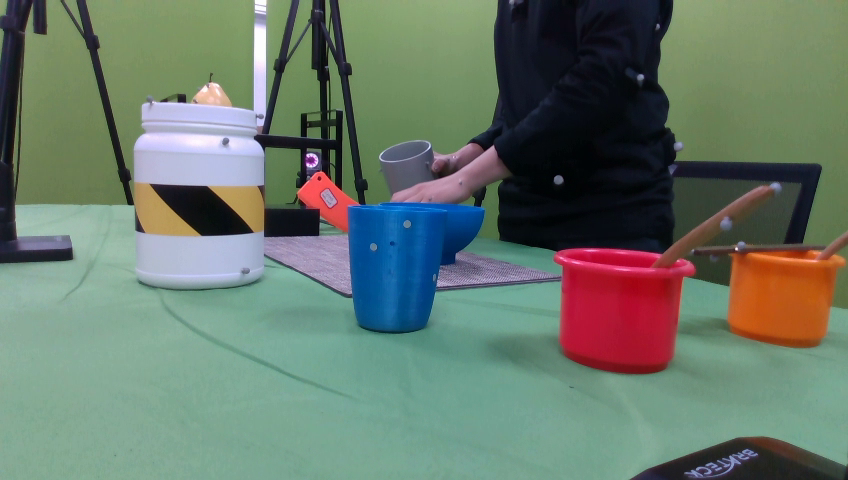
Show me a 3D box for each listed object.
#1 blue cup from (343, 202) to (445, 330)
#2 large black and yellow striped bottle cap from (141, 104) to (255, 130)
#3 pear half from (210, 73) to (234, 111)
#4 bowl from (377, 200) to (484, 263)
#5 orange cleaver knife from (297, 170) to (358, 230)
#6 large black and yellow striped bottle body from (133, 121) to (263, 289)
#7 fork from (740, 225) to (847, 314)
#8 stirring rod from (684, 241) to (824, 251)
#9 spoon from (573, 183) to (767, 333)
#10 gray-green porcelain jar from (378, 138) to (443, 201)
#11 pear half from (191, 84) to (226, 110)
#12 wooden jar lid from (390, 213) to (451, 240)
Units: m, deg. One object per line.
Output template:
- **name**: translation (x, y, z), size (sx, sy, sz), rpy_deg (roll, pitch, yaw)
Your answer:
- **blue cup**: translation (-0.027, 0.021, 0.510), size (0.093, 0.100, 0.092), rpy_deg (3, 5, 0)
- **large black and yellow striped bottle cap**: translation (-0.241, -0.131, 0.650), size (0.115, 0.019, 0.115), rpy_deg (3, 8, 0)
- **pear half**: translation (-0.402, -0.262, 1.162), size (0.076, 0.109, 0.056), rpy_deg (6, 7, 2)
- **bowl**: translation (0.008, -0.012, 0.842), size (0.151, 0.077, 0.151), rpy_deg (2, 7, 0)
- **orange cleaver knife**: translation (-0.149, -0.058, 1.170), size (0.212, 0.077, 0.012), rpy_deg (32, -15, -32)
- **large black and yellow striped bottle body**: translation (-0.243, -0.048, 0.659), size (0.131, 0.184, 0.130), rpy_deg (2, 7, 0)
- **fork**: translation (0.323, 0.013, 0.485), size (0.028, 0.018, 0.207), rpy_deg (8, -38, -5)
- **stirring rod**: translation (0.289, 0.005, 0.525), size (0.177, 0.006, 0.014), rpy_deg (-1, 5, -26)
- **spoon**: translation (0.158, 0.020, 0.412), size (0.042, 0.021, 0.193), rpy_deg (-2, -35, -21)
- **gray-green porcelain jar**: translation (-0.023, -0.122, 1.194), size (0.106, 0.126, 0.105), rpy_deg (-12, 28, 7)
- **pear half**: translation (-0.406, -0.248, 1.128), size (0.070, 0.088, 0.031), rpy_deg (5, 7, 2)
- **wooden jar lid**: translation (-0.007, -0.024, 1.054), size (0.108, 0.020, 0.108), rpy_deg (10, 17, -3)
